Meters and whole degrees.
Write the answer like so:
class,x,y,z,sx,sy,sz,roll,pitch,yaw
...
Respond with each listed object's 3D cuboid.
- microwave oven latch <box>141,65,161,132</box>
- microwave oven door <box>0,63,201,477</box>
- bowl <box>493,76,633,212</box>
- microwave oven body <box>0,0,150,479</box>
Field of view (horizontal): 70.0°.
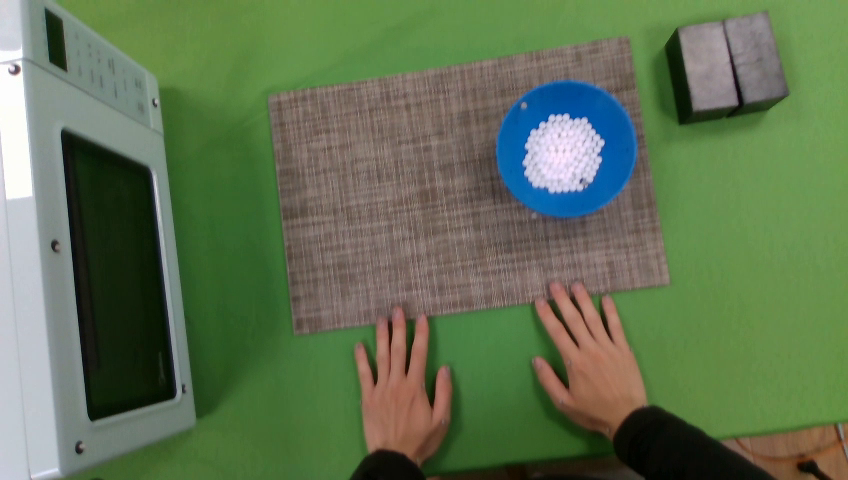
class,x,y,z,sx,sy,sz,roll,pitch,yaw
microwave oven latch,-0.347,-0.173,0.746,0.030,0.029,0.079,-10,85,3
microwave oven door,-0.322,0.032,0.624,0.039,0.244,0.354,-10,84,4
bowl,0.153,-0.100,0.691,0.151,0.077,0.151,0,85,5
microwave oven body,-0.473,0.016,0.643,0.326,0.261,0.440,-10,85,3
